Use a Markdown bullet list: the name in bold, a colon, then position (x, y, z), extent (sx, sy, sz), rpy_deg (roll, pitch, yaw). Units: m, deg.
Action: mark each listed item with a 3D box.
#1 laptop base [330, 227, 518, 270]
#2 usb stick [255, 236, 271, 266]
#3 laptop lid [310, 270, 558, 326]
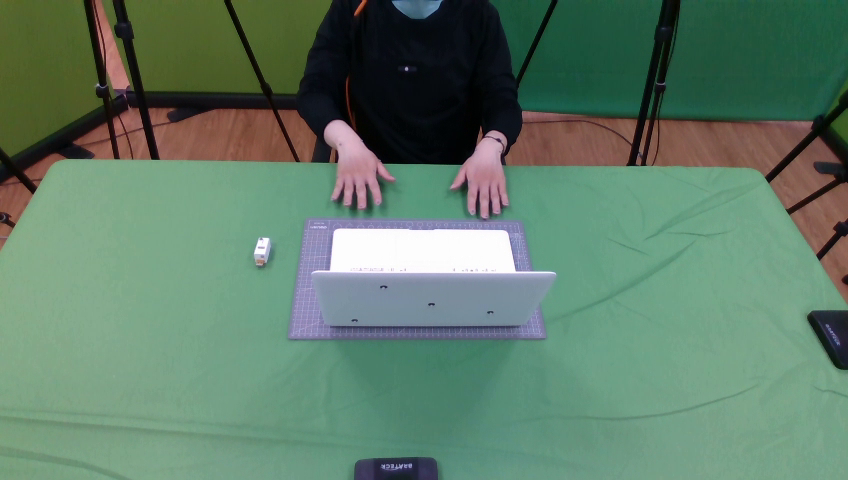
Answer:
- **laptop base**: position (0.001, 0.063, 1.134), extent (0.354, 0.023, 0.234), rpy_deg (0, 43, -3)
- **usb stick**: position (-0.306, 0.022, 1.148), extent (0.021, 0.027, 0.059), rpy_deg (3, 50, -1)
- **laptop lid**: position (0.011, 0.095, 0.948), extent (0.357, 0.242, 0.013), rpy_deg (1, 64, -5)
